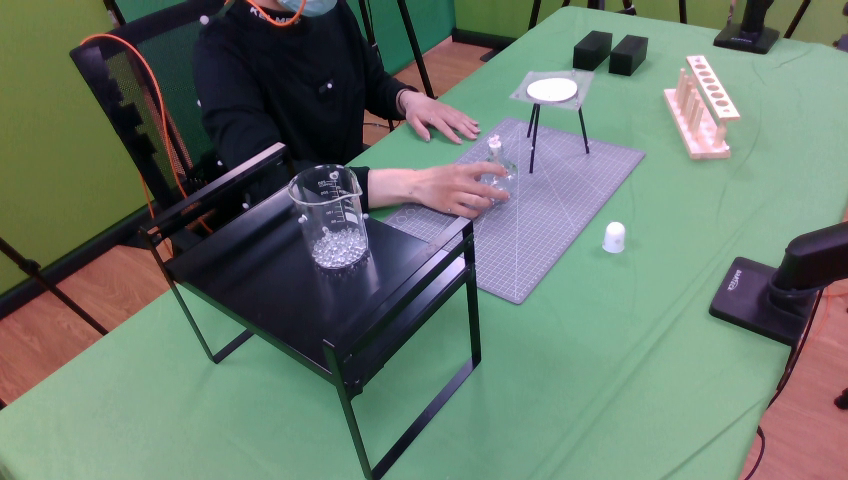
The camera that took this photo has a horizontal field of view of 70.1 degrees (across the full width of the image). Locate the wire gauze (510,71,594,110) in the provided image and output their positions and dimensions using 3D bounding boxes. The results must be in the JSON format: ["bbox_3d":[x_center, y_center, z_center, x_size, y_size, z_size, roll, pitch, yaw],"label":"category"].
[{"bbox_3d":[0.224,-0.266,1.053,0.124,0.011,0.121,12,44,23],"label":"wire gauze"}]

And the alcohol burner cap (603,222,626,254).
[{"bbox_3d":[0.291,-0.006,0.921,0.034,0.048,0.033,-4,40,4],"label":"alcohol burner cap"}]

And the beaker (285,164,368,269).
[{"bbox_3d":[-0.102,-0.024,0.676,0.083,0.101,0.074,8,43,16],"label":"beaker"}]

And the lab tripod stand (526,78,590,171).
[{"bbox_3d":[0.228,-0.216,1.097,0.148,0.132,0.147,-6,40,5],"label":"lab tripod stand"}]

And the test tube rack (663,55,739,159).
[{"bbox_3d":[0.518,-0.256,1.144,0.066,0.085,0.241,-1,41,8],"label":"test tube rack"}]

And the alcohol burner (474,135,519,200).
[{"bbox_3d":[0.122,-0.127,1.020,0.078,0.119,0.077,-2,43,3],"label":"alcohol burner"}]
